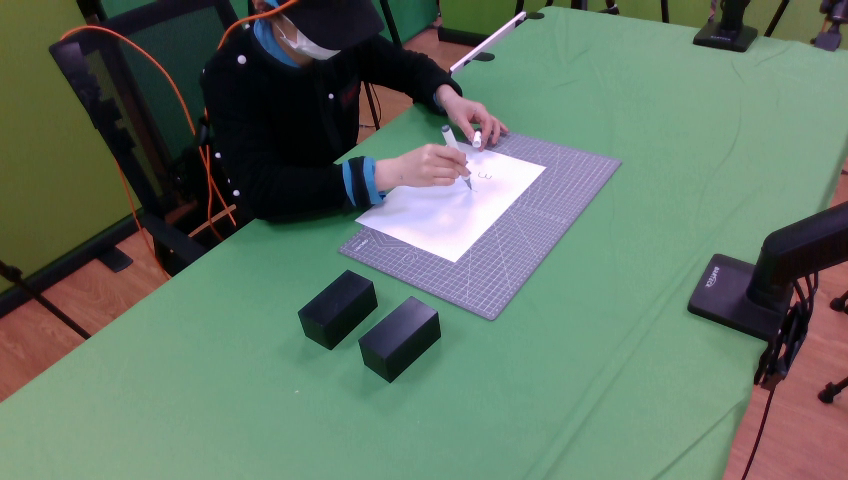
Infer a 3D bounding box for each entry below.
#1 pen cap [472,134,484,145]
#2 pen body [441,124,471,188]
[{"bbox_3d":[0.103,-0.190,1.145,0.017,0.017,0.038,6,23,16],"label":"pen cap"},{"bbox_3d":[0.057,-0.138,1.024,0.017,0.145,0.017,-14,46,15],"label":"pen body"}]
